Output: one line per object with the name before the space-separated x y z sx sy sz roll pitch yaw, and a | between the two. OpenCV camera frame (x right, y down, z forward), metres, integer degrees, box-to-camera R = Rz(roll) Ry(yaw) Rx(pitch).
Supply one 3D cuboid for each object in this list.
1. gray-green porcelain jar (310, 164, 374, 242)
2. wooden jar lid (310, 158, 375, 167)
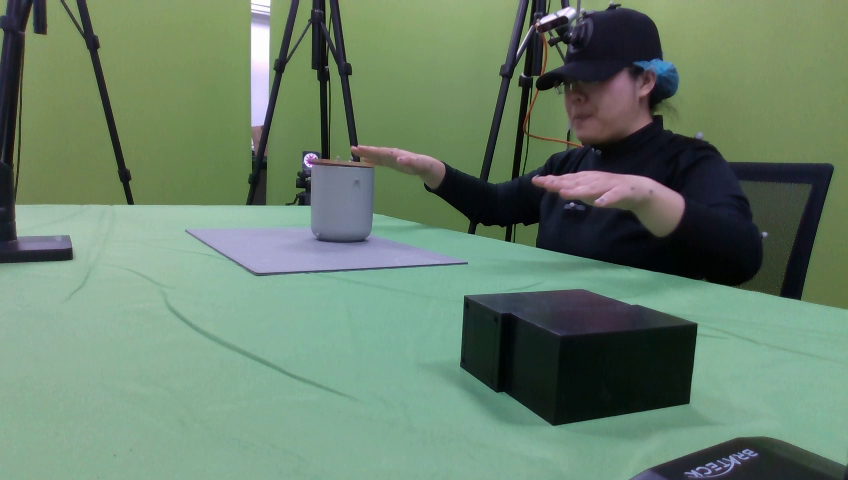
gray-green porcelain jar | -0.139 -0.063 1.023 0.106 0.126 0.106 3 8 0
wooden jar lid | -0.136 -0.125 1.015 0.108 0.020 0.108 5 8 0
